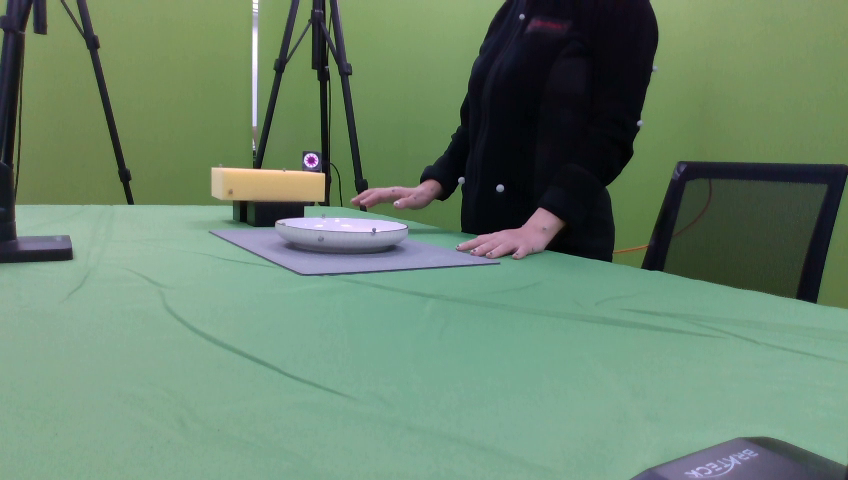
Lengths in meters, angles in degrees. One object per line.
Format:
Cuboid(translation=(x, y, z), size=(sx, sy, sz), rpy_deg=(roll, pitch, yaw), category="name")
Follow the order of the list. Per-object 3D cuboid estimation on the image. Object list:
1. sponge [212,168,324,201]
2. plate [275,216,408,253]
Cuboid(translation=(-0.325, -0.115, 1.259), size=(0.208, 0.061, 0.117), rpy_deg=(-2, 8, -30), category="sponge")
Cuboid(translation=(-0.129, -0.009, 0.954), size=(0.209, 0.038, 0.209), rpy_deg=(2, 7, 0), category="plate")
